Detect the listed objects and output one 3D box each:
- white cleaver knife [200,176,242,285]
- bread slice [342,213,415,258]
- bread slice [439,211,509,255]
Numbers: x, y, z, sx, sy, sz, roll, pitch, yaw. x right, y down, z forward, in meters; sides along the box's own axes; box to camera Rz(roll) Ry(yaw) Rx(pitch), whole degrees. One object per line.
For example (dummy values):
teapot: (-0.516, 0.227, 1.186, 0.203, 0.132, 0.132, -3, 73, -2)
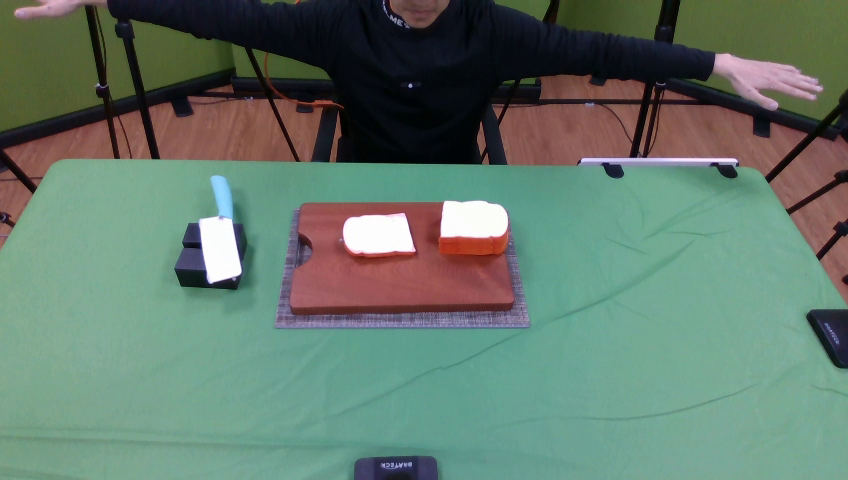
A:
white cleaver knife: (-0.386, -0.028, 1.136, 0.066, 0.021, 0.284, -11, 46, -14)
bread slice: (-0.091, -0.008, 1.154, 0.132, 0.019, 0.104, -3, 48, -14)
bread slice: (0.097, -0.013, 1.172, 0.134, 0.018, 0.106, 5, 48, 6)
